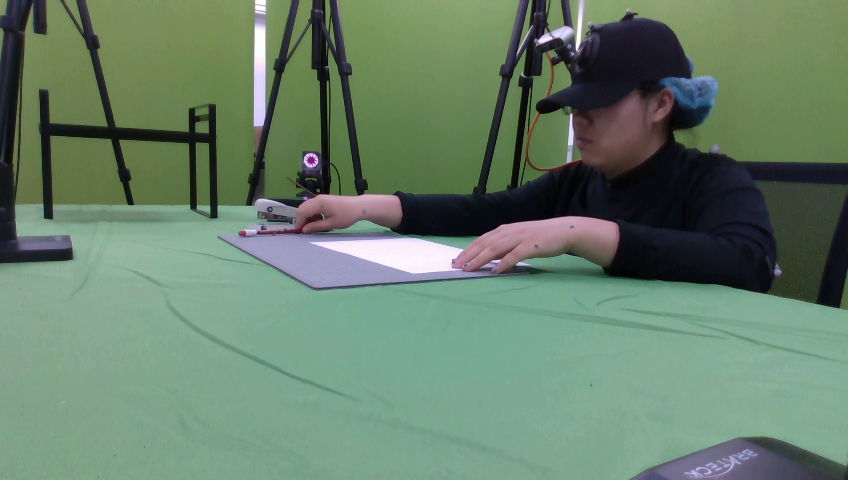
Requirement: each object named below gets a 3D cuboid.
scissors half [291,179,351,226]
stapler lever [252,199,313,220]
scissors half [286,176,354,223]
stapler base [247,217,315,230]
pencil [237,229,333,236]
[{"bbox_3d":[-0.232,-0.085,1.317,0.175,0.013,0.040,38,20,4],"label":"scissors half"},{"bbox_3d":[-0.273,-0.058,1.170,0.119,0.040,0.026,0,10,-37],"label":"stapler lever"},{"bbox_3d":[-0.229,-0.091,1.337,0.175,0.013,0.040,33,15,-13],"label":"scissors half"},{"bbox_3d":[-0.276,-0.033,1.172,0.131,0.024,0.041,0,10,-37],"label":"stapler base"},{"bbox_3d":[-0.241,-0.015,1.071,0.195,0.012,0.012,-2,9,-45],"label":"pencil"}]
